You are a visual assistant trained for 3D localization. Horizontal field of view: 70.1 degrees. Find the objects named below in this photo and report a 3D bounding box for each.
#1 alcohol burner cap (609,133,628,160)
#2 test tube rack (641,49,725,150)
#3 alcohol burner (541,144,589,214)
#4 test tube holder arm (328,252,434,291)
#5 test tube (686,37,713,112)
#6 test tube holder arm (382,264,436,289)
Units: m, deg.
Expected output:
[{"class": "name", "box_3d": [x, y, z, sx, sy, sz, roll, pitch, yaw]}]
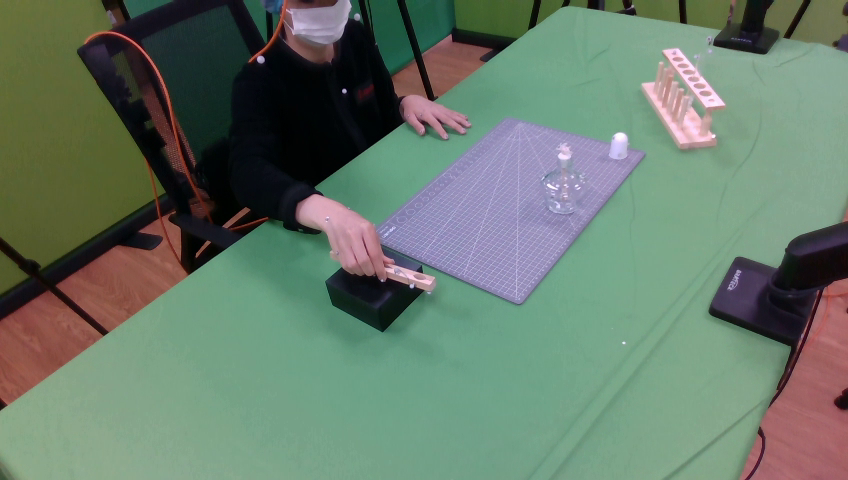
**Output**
[{"class": "alcohol burner cap", "box_3d": [0.356, -0.172, 1.101, 0.034, 0.048, 0.033, -5, 41, 5]}, {"class": "test tube rack", "box_3d": [0.495, -0.279, 1.175, 0.067, 0.085, 0.241, -5, 41, 3]}, {"class": "alcohol burner", "box_3d": [0.229, -0.102, 0.983, 0.078, 0.119, 0.077, -6, 41, 5]}, {"class": "test tube holder arm", "box_3d": [-0.065, 0.043, 0.852, 0.177, 0.015, 0.013, 13, 34, 27]}, {"class": "test tube", "box_3d": [0.509, -0.306, 1.128, 0.017, 0.151, 0.017, -1, 45, 1]}, {"class": "test tube holder arm", "box_3d": [-0.023, 0.050, 0.836, 0.087, 0.015, 0.010, 14, 34, 27]}]
